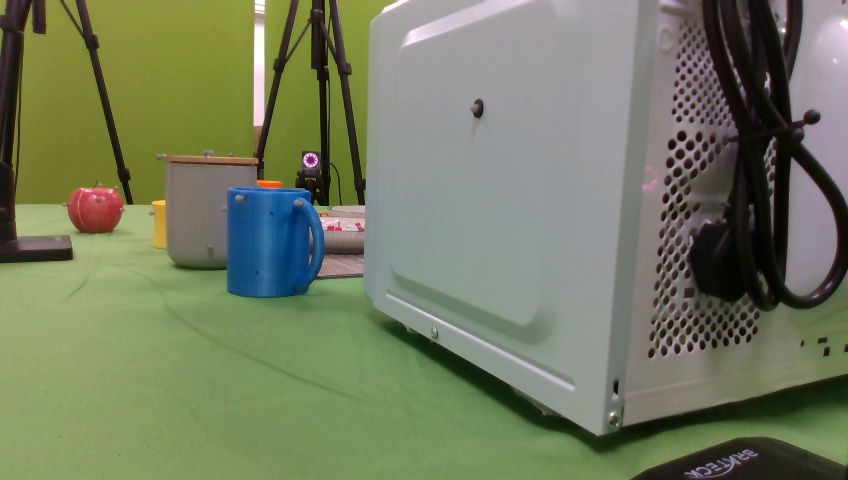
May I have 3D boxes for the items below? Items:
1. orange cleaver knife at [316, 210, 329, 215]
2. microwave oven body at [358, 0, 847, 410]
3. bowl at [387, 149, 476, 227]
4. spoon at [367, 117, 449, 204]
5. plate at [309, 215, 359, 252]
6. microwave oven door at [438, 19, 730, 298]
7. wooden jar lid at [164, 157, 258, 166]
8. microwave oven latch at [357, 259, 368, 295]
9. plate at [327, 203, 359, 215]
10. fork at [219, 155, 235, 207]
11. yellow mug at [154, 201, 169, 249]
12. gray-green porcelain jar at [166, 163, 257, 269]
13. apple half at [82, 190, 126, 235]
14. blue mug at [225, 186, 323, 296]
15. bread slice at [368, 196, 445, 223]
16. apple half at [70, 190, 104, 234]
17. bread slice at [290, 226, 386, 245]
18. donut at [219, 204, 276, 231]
[{"bbox_3d":[-0.259,-0.064,1.423,0.212,0.012,0.077,-4,3,-30],"label":"orange cleaver knife"},{"bbox_3d":[0.210,-0.051,0.471,0.444,0.260,0.324,-1,7,-28],"label":"microwave oven body"},{"bbox_3d":[0.026,-0.072,0.955,0.151,0.077,0.151,-29,-4,-2],"label":"bowl"},{"bbox_3d":[-0.027,-0.130,0.989,0.021,0.193,0.042,-39,-3,16],"label":"spoon"},{"bbox_3d":[-0.130,-0.011,0.945,0.208,0.039,0.207,2,7,0],"label":"plate"},{"bbox_3d":[0.181,-0.076,0.618,0.358,0.243,0.039,-2,8,-28],"label":"microwave oven door"},{"bbox_3d":[-0.261,-0.093,0.746,0.108,0.020,0.108,0,9,0],"label":"wooden jar lid"},{"bbox_3d":[-0.019,0.031,0.529,0.079,0.029,0.030,-1,7,-26],"label":"microwave oven latch"},{"bbox_3d":[-0.102,-0.053,1.299,0.209,0.038,0.209,2,8,0],"label":"plate"},{"bbox_3d":[-0.459,-0.134,1.415,0.028,0.018,0.207,-1,-34,-24],"label":"fork"},{"bbox_3d":[-0.337,-0.022,0.899,0.130,0.064,0.100,8,9,34],"label":"yellow mug"},{"bbox_3d":[-0.263,-0.031,0.754,0.106,0.126,0.106,2,7,0],"label":"gray-green porcelain jar"},{"bbox_3d":[-0.516,-0.046,0.994,0.032,0.081,0.081,0,6,26],"label":"apple half"},{"bbox_3d":[-0.148,0.000,0.618,0.116,0.106,0.083,7,9,33],"label":"blue mug"},{"bbox_3d":[-0.040,-0.057,1.142,0.107,0.018,0.133,-8,-8,-39],"label":"bread slice"},{"bbox_3d":[-0.552,-0.047,1.010,0.053,0.074,0.081,-1,9,26],"label":"apple half"},{"bbox_3d":[-0.125,-0.008,0.937,0.131,0.019,0.105,4,8,32],"label":"bread slice"},{"bbox_3d":[-0.316,-0.039,1.083,0.099,0.048,0.099,3,7,0],"label":"donut"}]
